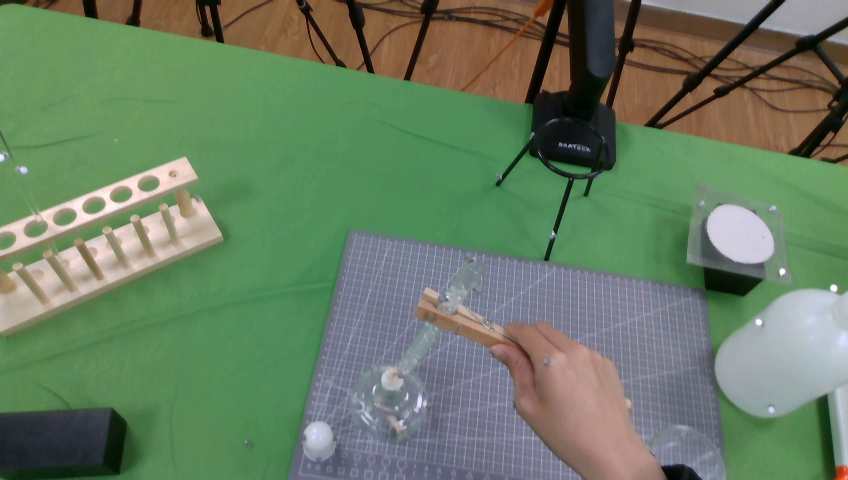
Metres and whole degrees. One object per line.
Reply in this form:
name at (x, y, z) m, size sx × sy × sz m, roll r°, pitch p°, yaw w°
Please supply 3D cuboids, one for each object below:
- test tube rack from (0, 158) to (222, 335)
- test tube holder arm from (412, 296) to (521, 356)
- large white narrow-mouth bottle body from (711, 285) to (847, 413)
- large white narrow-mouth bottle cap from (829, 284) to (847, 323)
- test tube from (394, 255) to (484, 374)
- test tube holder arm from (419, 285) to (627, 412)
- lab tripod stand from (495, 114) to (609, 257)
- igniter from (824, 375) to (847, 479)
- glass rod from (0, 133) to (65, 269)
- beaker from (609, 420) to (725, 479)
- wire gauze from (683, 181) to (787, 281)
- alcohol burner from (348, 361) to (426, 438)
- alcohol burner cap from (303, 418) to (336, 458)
test tube rack at (-0.355, 0.004, 0.657) m, size 0.242 × 0.086 × 0.066 m, roll -27°, pitch 65°, yaw -22°
test tube holder arm at (0.033, 0.067, 0.469) m, size 0.088 × 0.015 × 0.010 m, roll 23°, pitch 39°, yaw -1°
large white narrow-mouth bottle body at (0.387, 0.104, 0.627) m, size 0.102 × 0.196 × 0.101 m, roll 3°, pitch 58°, yaw -4°
large white narrow-mouth bottle cap at (0.395, 0.057, 0.555) m, size 0.038 × 0.024 × 0.037 m, roll 3°, pitch 58°, yaw -5°
test tube at (0.008, 0.064, 0.483) m, size 0.017 × 0.151 × 0.017 m, roll 17°, pitch 42°, yaw -16°
test tube holder arm at (0.075, 0.084, 0.471) m, size 0.178 × 0.015 × 0.013 m, roll 28°, pitch 40°, yaw 5°
lab tripod stand at (0.163, -0.073, 0.744) m, size 0.149 × 0.132 × 0.147 m, roll 4°, pitch 59°, yaw -6°
igniter at (0.452, 0.249, 0.645) m, size 0.057 × 0.025 × 0.274 m, roll 21°, pitch 57°, yaw -6°
glass rod at (-0.387, -0.032, 0.597) m, size 0.008 × 0.201 × 0.008 m, roll 6°, pitch 49°, yaw -6°
beaker at (0.226, 0.224, 0.585) m, size 0.084 × 0.101 × 0.073 m, roll 7°, pitch 57°, yaw -2°
wire gauze at (0.385, -0.012, 0.750) m, size 0.121 × 0.011 × 0.124 m, roll 16°, pitch 57°, yaw 3°
alcohol burner at (-0.034, 0.149, 0.590) m, size 0.078 × 0.120 × 0.077 m, roll 5°, pitch 57°, yaw -7°
alcohol burner cap at (-0.104, 0.193, 0.596) m, size 0.034 × 0.048 × 0.033 m, roll 3°, pitch 58°, yaw -4°
